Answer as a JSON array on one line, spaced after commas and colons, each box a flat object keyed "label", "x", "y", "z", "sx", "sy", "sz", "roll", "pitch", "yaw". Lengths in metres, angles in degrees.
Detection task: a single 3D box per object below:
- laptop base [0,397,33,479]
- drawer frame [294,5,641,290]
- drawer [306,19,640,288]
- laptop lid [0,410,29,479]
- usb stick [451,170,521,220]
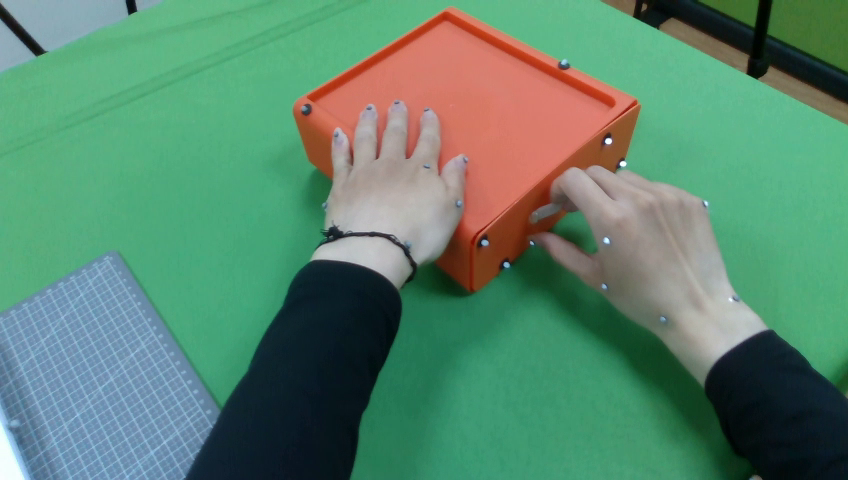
[{"label": "laptop base", "x": -0.409, "y": 0.232, "z": 0.351, "sx": 0.354, "sy": 0.023, "sz": 0.233, "roll": -35, "pitch": 61, "yaw": -20}, {"label": "drawer frame", "x": 0.035, "y": -0.092, "z": 0.524, "sx": 0.201, "sy": 0.083, "sz": 0.211, "roll": -40, "pitch": 59, "yaw": -22}, {"label": "drawer", "x": 0.039, "y": -0.089, "z": 0.524, "sx": 0.194, "sy": 0.074, "sz": 0.210, "roll": -40, "pitch": 58, "yaw": -21}, {"label": "laptop lid", "x": -0.409, "y": 0.227, "z": 0.340, "sx": 0.357, "sy": 0.013, "sz": 0.239, "roll": -33, "pitch": 60, "yaw": -19}, {"label": "usb stick", "x": 0.053, "y": -0.040, "z": 0.505, "sx": 0.059, "sy": 0.027, "sz": 0.021, "roll": -19, "pitch": 59, "yaw": -10}]
